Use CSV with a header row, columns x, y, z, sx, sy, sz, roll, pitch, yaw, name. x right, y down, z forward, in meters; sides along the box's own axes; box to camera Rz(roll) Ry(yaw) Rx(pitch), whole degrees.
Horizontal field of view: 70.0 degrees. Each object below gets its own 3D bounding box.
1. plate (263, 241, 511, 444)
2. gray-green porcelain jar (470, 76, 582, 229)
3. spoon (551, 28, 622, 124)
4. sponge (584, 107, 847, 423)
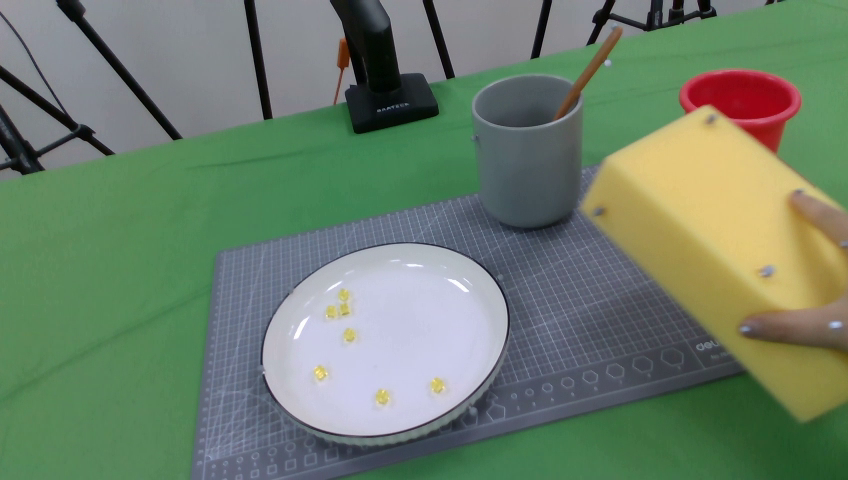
x,y,z,sx,sy,sz,roll,pitch,yaw,name
-0.030,0.082,0.514,0.207,0.039,0.205,-6,41,6,plate
0.104,-0.083,0.606,0.106,0.128,0.105,-6,41,6,gray-green porcelain jar
0.129,-0.111,0.576,0.022,0.195,0.041,19,36,-9,spoon
0.233,0.007,0.428,0.118,0.061,0.205,-29,63,-25,sponge
